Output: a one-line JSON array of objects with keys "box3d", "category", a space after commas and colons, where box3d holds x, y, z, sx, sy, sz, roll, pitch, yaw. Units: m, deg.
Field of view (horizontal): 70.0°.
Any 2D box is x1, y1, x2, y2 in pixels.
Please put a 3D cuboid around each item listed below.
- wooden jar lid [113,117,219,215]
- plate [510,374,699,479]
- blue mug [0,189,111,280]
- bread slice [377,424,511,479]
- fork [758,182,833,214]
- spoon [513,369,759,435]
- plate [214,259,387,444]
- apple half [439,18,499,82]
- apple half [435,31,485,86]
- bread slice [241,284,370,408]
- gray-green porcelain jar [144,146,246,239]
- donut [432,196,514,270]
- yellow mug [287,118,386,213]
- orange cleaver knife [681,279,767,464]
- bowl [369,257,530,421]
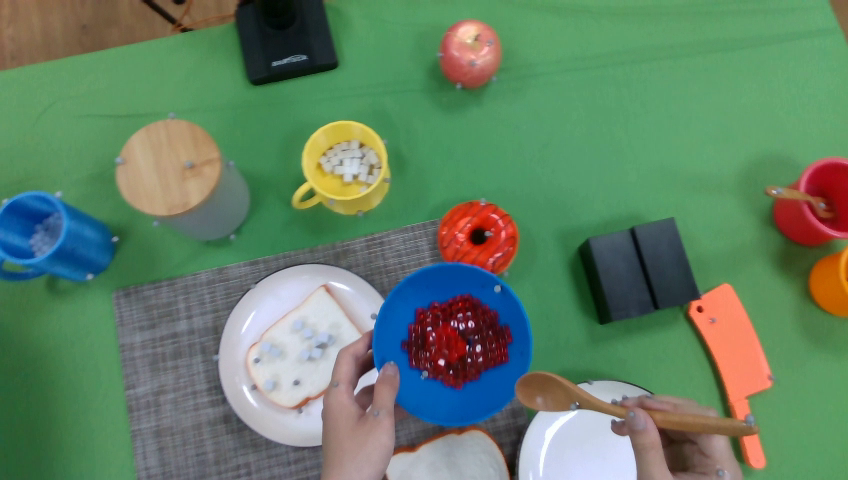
[{"box3d": [-0.270, -0.076, 0.640, 0.108, 0.021, 0.108, 0, 75, 0], "category": "wooden jar lid"}, {"box3d": [0.199, 0.257, 0.680, 0.209, 0.038, 0.208, 0, 77, 0], "category": "plate"}, {"box3d": [-0.439, 0.007, 0.693, 0.116, 0.106, 0.082, -38, 80, -8], "category": "blue mug"}, {"box3d": [0.031, 0.261, 0.650, 0.135, 0.018, 0.106, -16, 74, -25], "category": "bread slice"}, {"box3d": [0.429, -0.050, 0.696, 0.209, 0.018, 0.028, 5, 73, -43], "category": "fork"}, {"box3d": [0.147, 0.126, 0.458, 0.021, 0.192, 0.042, -32, 111, -36], "category": "spoon"}, {"box3d": [-0.133, 0.126, 0.701, 0.208, 0.039, 0.206, 0, 77, 0], "category": "plate"}, {"box3d": [0.064, -0.246, 0.773, 0.080, 0.075, 0.053, 42, 75, 12], "category": "apple half"}, {"box3d": [0.038, -0.219, 0.765, 0.081, 0.081, 0.033, 42, 75, 9], "category": "apple half"}, {"box3d": [-0.142, 0.130, 0.702, 0.131, 0.019, 0.104, -38, 80, -10], "category": "bread slice"}, {"box3d": [-0.270, -0.061, 0.700, 0.106, 0.127, 0.105, 0, 77, 0], "category": "gray-green porcelain jar"}, {"box3d": [0.059, -0.005, 0.730, 0.099, 0.048, 0.098, 0, 78, -1], "category": "donut"}, {"box3d": [-0.111, -0.080, 0.738, 0.131, 0.064, 0.099, -36, 80, -7], "category": "yellow mug"}, {"box3d": [0.366, 0.151, 0.716, 0.077, 0.012, 0.210, -11, 76, -10], "category": "orange cleaver knife"}, {"box3d": [0.024, 0.097, 0.596, 0.151, 0.077, 0.150, 0, 80, 0], "category": "bowl"}]
